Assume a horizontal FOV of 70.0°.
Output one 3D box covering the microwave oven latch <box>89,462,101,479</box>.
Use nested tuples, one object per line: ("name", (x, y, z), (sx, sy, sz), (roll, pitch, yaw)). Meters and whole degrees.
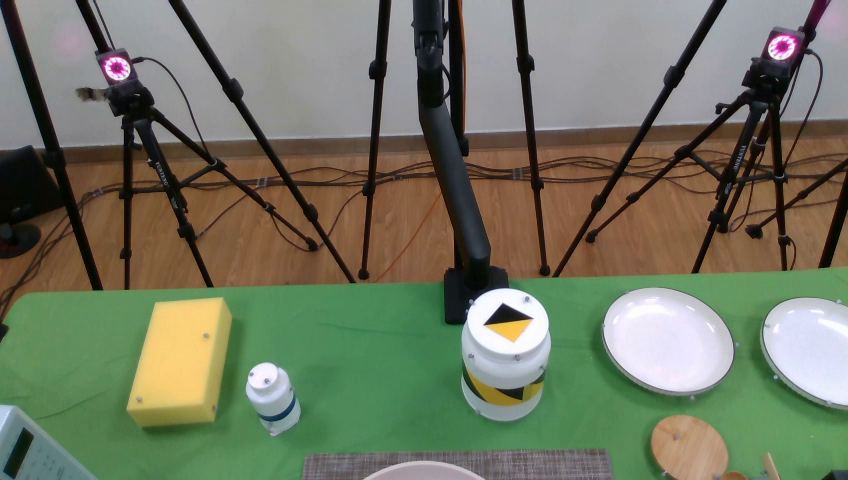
("microwave oven latch", (-0.482, 0.355, 0.849), (0.030, 0.030, 0.078), (2, 49, 4))

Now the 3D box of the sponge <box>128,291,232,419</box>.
("sponge", (-0.398, 0.187, 1.006), (0.118, 0.061, 0.204), (-5, 49, -2))

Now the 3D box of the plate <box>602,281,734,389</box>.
("plate", (0.401, 0.159, 1.010), (0.207, 0.039, 0.205), (-1, 48, 2))

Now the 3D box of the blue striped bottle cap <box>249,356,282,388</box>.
("blue striped bottle cap", (-0.232, 0.192, 0.884), (0.044, 0.021, 0.044), (-1, 50, 2))

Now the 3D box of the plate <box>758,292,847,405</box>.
("plate", (0.650, 0.176, 0.981), (0.209, 0.038, 0.207), (-2, 48, 2))

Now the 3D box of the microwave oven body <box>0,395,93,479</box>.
("microwave oven body", (-0.636, 0.424, 0.664), (0.326, 0.262, 0.437), (-1, 49, 2))

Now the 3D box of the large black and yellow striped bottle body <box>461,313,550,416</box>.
("large black and yellow striped bottle body", (0.120, 0.168, 0.917), (0.131, 0.186, 0.129), (-1, 48, 2))

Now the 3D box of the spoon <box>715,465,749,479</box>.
("spoon", (0.349, 0.352, 0.683), (0.041, 0.022, 0.192), (14, 53, 10))

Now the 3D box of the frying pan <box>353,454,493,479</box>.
("frying pan", (-0.071, 0.472, 0.701), (0.304, 0.103, 0.487), (32, 48, 28))

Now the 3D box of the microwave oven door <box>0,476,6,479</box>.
("microwave oven door", (-0.492, 0.449, 0.628), (0.039, 0.246, 0.352), (-1, 48, 2))

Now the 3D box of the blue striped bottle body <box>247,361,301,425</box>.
("blue striped bottle body", (-0.229, 0.227, 0.922), (0.063, 0.122, 0.062), (-1, 48, 2))

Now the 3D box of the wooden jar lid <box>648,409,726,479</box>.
("wooden jar lid", (0.386, 0.302, 0.893), (0.108, 0.021, 0.107), (-2, 49, 2))

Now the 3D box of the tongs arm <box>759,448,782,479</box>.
("tongs arm", (0.497, 0.436, 0.708), (0.051, 0.027, 0.381), (-5, 60, -6))

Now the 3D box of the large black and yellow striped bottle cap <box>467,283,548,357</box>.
("large black and yellow striped bottle cap", (0.118, 0.111, 0.854), (0.115, 0.019, 0.114), (-1, 49, 2))
